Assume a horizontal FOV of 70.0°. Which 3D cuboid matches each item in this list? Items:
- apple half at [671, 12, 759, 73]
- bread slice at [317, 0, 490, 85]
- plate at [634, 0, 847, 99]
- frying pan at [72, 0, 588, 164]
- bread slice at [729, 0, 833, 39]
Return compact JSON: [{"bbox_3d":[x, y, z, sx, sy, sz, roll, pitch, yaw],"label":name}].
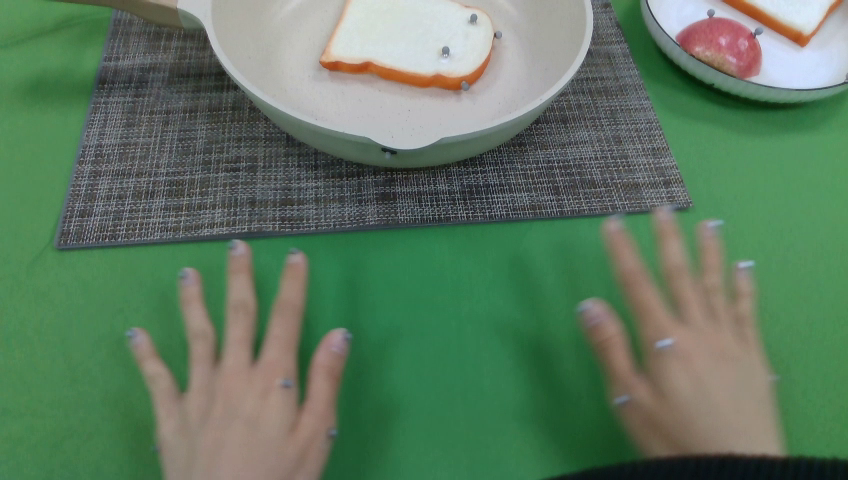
[{"bbox_3d":[0.248,-0.170,0.503,0.081,0.033,0.080,14,35,-10],"label":"apple half"},{"bbox_3d":[-0.011,-0.176,0.515,0.134,0.018,0.106,10,59,3],"label":"bread slice"},{"bbox_3d":[0.290,-0.199,0.546,0.208,0.039,0.205,2,58,-2],"label":"plate"},{"bbox_3d":[-0.123,-0.181,0.466,0.489,0.103,0.304,5,57,-10],"label":"frying pan"},{"bbox_3d":[0.345,-0.262,0.563,0.104,0.019,0.131,40,85,18],"label":"bread slice"}]
